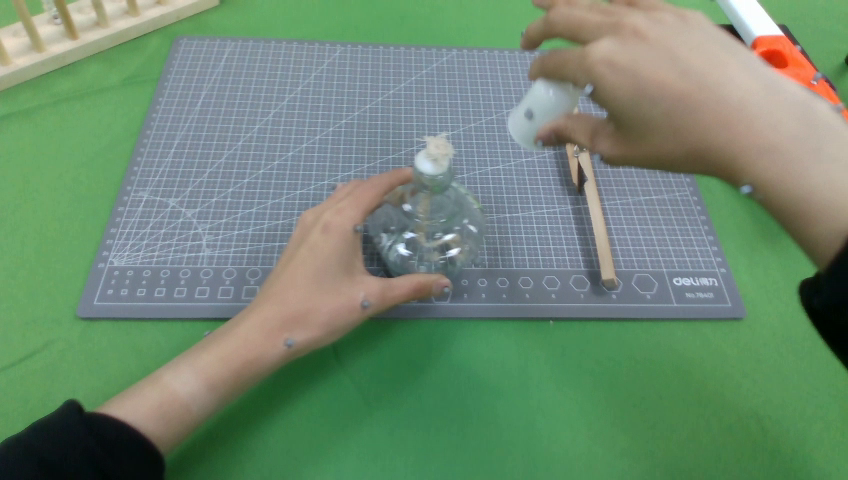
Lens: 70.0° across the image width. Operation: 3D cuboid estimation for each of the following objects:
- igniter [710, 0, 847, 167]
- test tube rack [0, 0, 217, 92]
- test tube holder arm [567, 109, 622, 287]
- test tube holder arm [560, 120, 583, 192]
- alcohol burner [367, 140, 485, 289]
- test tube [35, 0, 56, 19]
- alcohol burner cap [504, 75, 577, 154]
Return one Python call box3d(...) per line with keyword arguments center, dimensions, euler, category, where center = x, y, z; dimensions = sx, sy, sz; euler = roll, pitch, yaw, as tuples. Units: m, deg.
box3d(center=(0.293, -0.162, 0.517), dimensions=(0.057, 0.025, 0.273), euler=(-3, 52, -4), category="igniter")
box3d(center=(-0.313, -0.214, 0.527), dimensions=(0.242, 0.086, 0.066), euler=(-35, 63, -26), category="test tube rack")
box3d(center=(0.129, -0.042, 0.474), dimensions=(0.013, 0.015, 0.176), euler=(-22, 51, 22), category="test tube holder arm")
box3d(center=(0.122, -0.077, 0.502), dimensions=(0.010, 0.015, 0.087), euler=(-21, 52, 23), category="test tube holder arm")
box3d(center=(0.002, -0.021, 0.388), dimensions=(0.078, 0.120, 0.077), euler=(2, 56, -2), category="alcohol burner")
box3d(center=(-0.330, -0.250, 0.490), dimensions=(0.017, 0.151, 0.017), euler=(4, 50, -4), category="test tube")
box3d(center=(0.071, -0.077, 0.360), dimensions=(0.034, 0.048, 0.033), euler=(8, 61, -14), category="alcohol burner cap")
